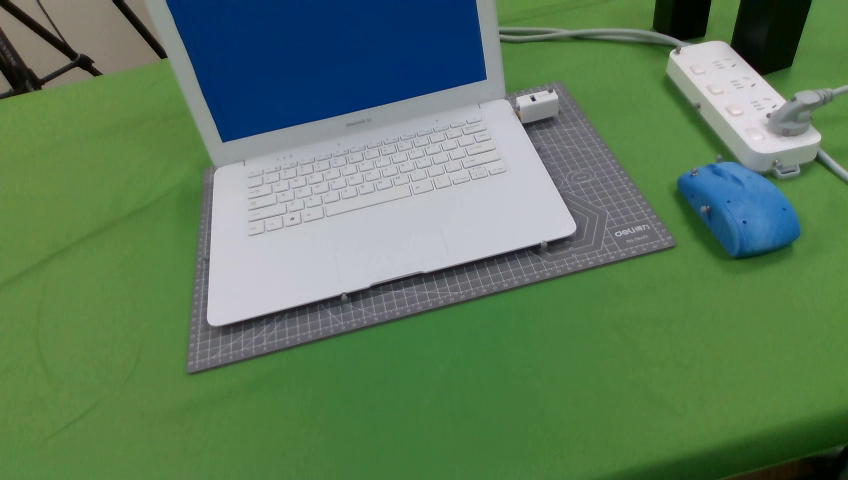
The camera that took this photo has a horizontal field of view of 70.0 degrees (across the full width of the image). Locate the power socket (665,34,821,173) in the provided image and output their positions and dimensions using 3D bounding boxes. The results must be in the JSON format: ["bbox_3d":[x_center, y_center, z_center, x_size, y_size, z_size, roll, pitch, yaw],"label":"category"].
[{"bbox_3d":[0.334,-0.155,0.652,0.072,0.033,0.224,-12,46,1],"label":"power socket"}]

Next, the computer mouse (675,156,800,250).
[{"bbox_3d":[0.282,-0.041,0.551,0.063,0.041,0.116,-15,41,0],"label":"computer mouse"}]

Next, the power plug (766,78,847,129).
[{"bbox_3d":[0.371,-0.123,0.585,0.072,0.053,0.035,-4,49,7],"label":"power plug"}]

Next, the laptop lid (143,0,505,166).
[{"bbox_3d":[-0.095,-0.221,0.651,0.357,0.244,0.013,-16,34,-2],"label":"laptop lid"}]

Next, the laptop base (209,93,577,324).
[{"bbox_3d":[-0.048,-0.044,0.636,0.354,0.023,0.233,-15,49,-2],"label":"laptop base"}]

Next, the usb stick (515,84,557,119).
[{"bbox_3d":[0.120,-0.156,0.689,0.059,0.027,0.021,-16,45,1],"label":"usb stick"}]
